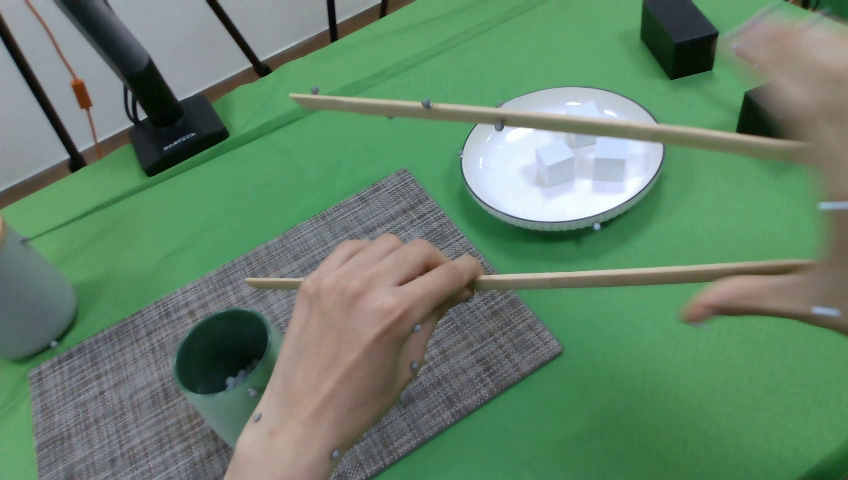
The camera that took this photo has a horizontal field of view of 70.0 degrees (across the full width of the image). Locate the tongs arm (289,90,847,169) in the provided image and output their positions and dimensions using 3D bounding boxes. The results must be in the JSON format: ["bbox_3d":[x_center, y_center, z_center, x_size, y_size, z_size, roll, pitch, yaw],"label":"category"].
[{"bbox_3d":[0.071,-0.061,0.382,0.382,0.027,0.050,9,78,24],"label":"tongs arm"}]

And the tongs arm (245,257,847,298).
[{"bbox_3d":[0.057,0.019,0.366,0.386,0.028,0.028,-5,69,21],"label":"tongs arm"}]

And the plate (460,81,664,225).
[{"bbox_3d":[0.144,-0.091,0.645,0.207,0.039,0.205,-7,50,9],"label":"plate"}]

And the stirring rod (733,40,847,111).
[{"bbox_3d":[0.368,-0.154,0.584,0.006,0.014,0.174,-27,49,-11],"label":"stirring rod"}]

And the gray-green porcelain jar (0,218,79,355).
[{"bbox_3d":[-0.433,0.050,0.620,0.106,0.128,0.105,-7,50,9],"label":"gray-green porcelain jar"}]

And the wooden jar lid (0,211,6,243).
[{"bbox_3d":[-0.447,0.010,0.574,0.108,0.021,0.107,-6,52,8],"label":"wooden jar lid"}]

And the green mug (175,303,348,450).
[{"bbox_3d":[-0.126,0.110,0.499,0.125,0.106,0.091,-12,48,4],"label":"green mug"}]
